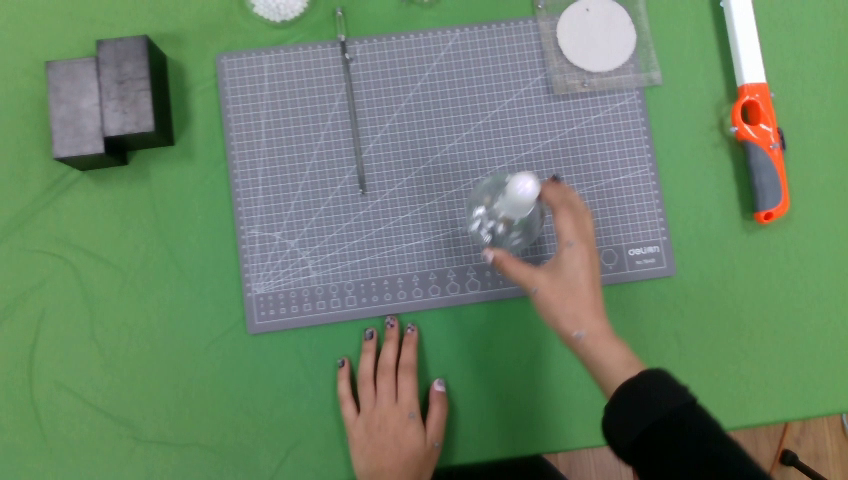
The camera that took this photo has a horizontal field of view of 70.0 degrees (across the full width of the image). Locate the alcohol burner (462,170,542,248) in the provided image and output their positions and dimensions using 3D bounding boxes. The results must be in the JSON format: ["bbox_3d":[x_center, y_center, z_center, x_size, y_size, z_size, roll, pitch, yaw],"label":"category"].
[{"bbox_3d":[0.077,-0.034,0.561,0.078,0.119,0.077,2,76,-7],"label":"alcohol burner"}]

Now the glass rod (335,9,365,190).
[{"bbox_3d":[-0.079,-0.151,0.643,0.008,0.008,0.199,-8,84,-3],"label":"glass rod"}]

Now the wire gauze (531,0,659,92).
[{"bbox_3d":[0.187,-0.225,0.660,0.125,0.011,0.121,-9,85,-3],"label":"wire gauze"}]

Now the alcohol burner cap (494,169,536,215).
[{"bbox_3d":[0.081,-0.044,0.527,0.034,0.048,0.033,1,74,-3],"label":"alcohol burner cap"}]

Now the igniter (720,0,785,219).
[{"bbox_3d":[0.350,-0.160,0.651,0.057,0.025,0.276,-5,85,-12],"label":"igniter"}]

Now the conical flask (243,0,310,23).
[{"bbox_3d":[-0.158,-0.276,0.599,0.075,0.122,0.075,0,83,-1],"label":"conical flask"}]
